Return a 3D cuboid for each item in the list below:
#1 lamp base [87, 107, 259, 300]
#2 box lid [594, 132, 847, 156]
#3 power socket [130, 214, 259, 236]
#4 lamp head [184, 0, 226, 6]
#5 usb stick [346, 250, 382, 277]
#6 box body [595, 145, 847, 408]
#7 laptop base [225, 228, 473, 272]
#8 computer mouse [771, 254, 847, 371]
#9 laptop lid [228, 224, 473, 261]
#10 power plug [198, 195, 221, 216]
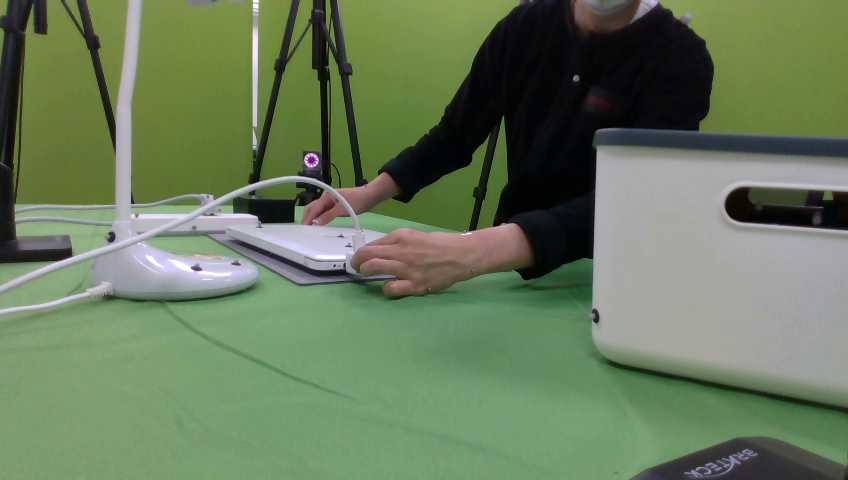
[{"bbox_3d":[-0.254,-0.039,0.603,0.160,0.180,0.179,5,10,18],"label":"lamp base"},{"bbox_3d":[0.310,-0.066,0.499,0.262,0.015,0.373,7,8,29],"label":"box lid"},{"bbox_3d":[-0.397,-0.028,1.048,0.228,0.032,0.072,-3,7,-35],"label":"power socket"},{"bbox_3d":[-0.229,-0.320,0.627,0.112,0.112,0.123,6,-36,26],"label":"lamp head"},{"bbox_3d":[-0.071,0.026,0.680,0.021,0.027,0.059,-13,6,-34],"label":"usb stick"},{"bbox_3d":[0.309,0.006,0.509,0.253,0.160,0.366,6,8,29],"label":"box body"},{"bbox_3d":[-0.125,0.011,0.889,0.237,0.023,0.352,1,6,-35],"label":"laptop base"},{"bbox_3d":[0.344,0.057,0.519,0.063,0.041,0.117,12,47,3],"label":"computer mouse"},{"bbox_3d":[-0.123,0.000,0.888,0.243,0.013,0.355,1,7,-33],"label":"laptop lid"},{"bbox_3d":[-0.386,-0.055,1.088,0.035,0.052,0.072,-2,6,-24],"label":"power plug"}]
